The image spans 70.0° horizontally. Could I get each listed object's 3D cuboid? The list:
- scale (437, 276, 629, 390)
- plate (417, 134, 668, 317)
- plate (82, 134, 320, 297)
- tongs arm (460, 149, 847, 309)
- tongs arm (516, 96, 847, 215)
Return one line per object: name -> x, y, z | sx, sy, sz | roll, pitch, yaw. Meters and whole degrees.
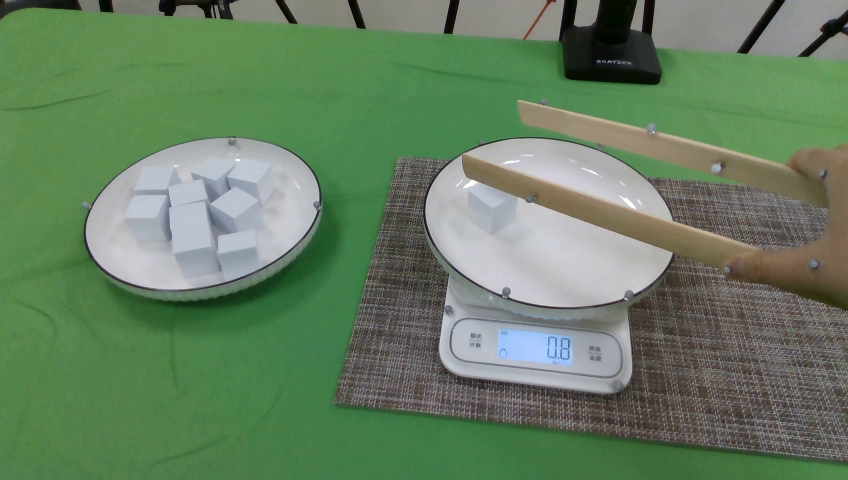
scale -> 0.094, 0.030, 0.519 | 0.148, 0.032, 0.199 | 6, 47, 5
plate -> 0.097, -0.014, 0.515 | 0.208, 0.039, 0.205 | 1, 46, -1
plate -> -0.200, -0.023, 0.566 | 0.209, 0.038, 0.207 | 1, 46, -1
tongs arm -> 0.177, -0.003, 0.369 | 0.384, 0.028, 0.028 | 23, 54, 35
tongs arm -> 0.206, -0.032, 0.387 | 0.381, 0.027, 0.050 | 25, 58, 36
